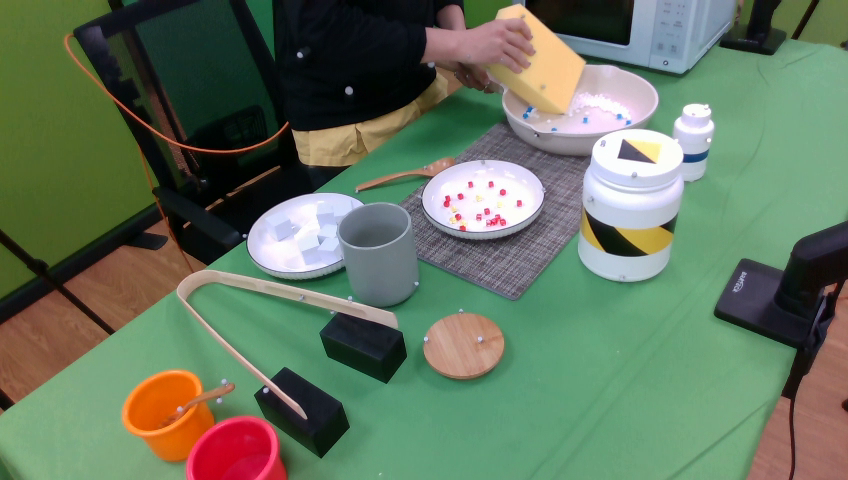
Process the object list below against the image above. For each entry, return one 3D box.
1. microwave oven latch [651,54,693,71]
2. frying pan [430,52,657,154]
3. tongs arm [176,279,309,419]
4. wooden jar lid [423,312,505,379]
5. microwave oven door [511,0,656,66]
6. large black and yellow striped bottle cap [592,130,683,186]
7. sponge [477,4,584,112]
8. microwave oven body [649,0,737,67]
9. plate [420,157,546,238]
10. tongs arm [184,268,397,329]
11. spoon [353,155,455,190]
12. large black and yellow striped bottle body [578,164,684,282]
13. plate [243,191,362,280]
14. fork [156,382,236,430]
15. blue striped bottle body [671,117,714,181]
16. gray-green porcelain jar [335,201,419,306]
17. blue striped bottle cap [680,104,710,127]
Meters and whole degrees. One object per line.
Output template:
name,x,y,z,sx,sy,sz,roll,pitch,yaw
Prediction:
microwave oven latch,0.532,-0.386,1.301,0.078,0.029,0.030,26,51,33
frying pan,0.215,-0.302,1.224,0.484,0.103,0.308,29,49,24
tongs arm,-0.254,0.133,0.802,0.028,0.028,0.384,-41,41,-22
wooden jar lid,0.053,0.142,0.800,0.108,0.021,0.108,-5,39,4
microwave oven door,0.351,-0.540,1.349,0.353,0.245,0.039,24,50,31
large black and yellow striped bottle cap,0.282,-0.111,0.803,0.115,0.019,0.114,-3,41,3
sponge,0.213,-0.352,1.193,0.060,0.209,0.118,12,79,54
microwave oven body,0.475,-0.602,1.411,0.438,0.261,0.327,23,50,32
plate,0.099,-0.067,1.017,0.209,0.038,0.208,-4,40,4
tongs arm,-0.202,0.084,0.848,0.382,0.027,0.051,11,45,35
spoon,-0.038,-0.123,1.116,0.194,0.022,0.041,-12,58,-4
large black and yellow striped bottle body,0.292,-0.046,0.859,0.131,0.185,0.130,-4,41,4
plate,-0.187,-0.005,0.992,0.207,0.039,0.206,-4,41,4
fork,-0.262,0.189,0.690,0.018,0.206,0.028,49,43,-7
blue striped bottle body,0.449,-0.165,1.022,0.063,0.121,0.063,-5,41,4
gray-green porcelain jar,-0.064,0.024,0.872,0.106,0.127,0.105,-4,41,4
blue striped bottle cap,0.443,-0.205,0.989,0.044,0.021,0.044,-2,41,2
